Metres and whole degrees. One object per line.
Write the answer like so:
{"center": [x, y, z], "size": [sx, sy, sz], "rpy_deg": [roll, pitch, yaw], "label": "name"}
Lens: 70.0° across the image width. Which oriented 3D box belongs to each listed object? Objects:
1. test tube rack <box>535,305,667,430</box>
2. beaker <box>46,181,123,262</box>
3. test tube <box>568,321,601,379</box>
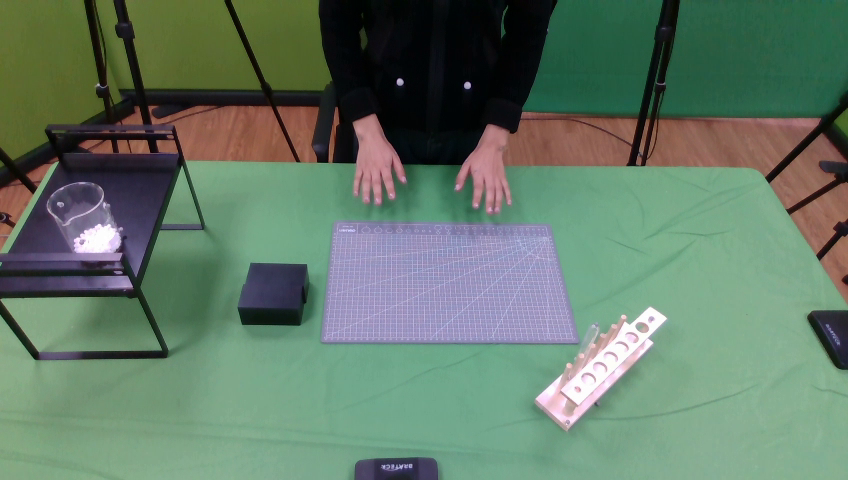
{"center": [0.290, 0.193, 0.984], "size": [0.242, 0.085, 0.066], "rpy_deg": [-32, 56, -30], "label": "test tube rack"}
{"center": [-0.487, -0.021, 0.877], "size": [0.074, 0.101, 0.083], "rpy_deg": [3, 47, 0], "label": "beaker"}
{"center": [0.247, 0.173, 0.938], "size": [0.017, 0.151, 0.017], "rpy_deg": [2, 47, -2], "label": "test tube"}
